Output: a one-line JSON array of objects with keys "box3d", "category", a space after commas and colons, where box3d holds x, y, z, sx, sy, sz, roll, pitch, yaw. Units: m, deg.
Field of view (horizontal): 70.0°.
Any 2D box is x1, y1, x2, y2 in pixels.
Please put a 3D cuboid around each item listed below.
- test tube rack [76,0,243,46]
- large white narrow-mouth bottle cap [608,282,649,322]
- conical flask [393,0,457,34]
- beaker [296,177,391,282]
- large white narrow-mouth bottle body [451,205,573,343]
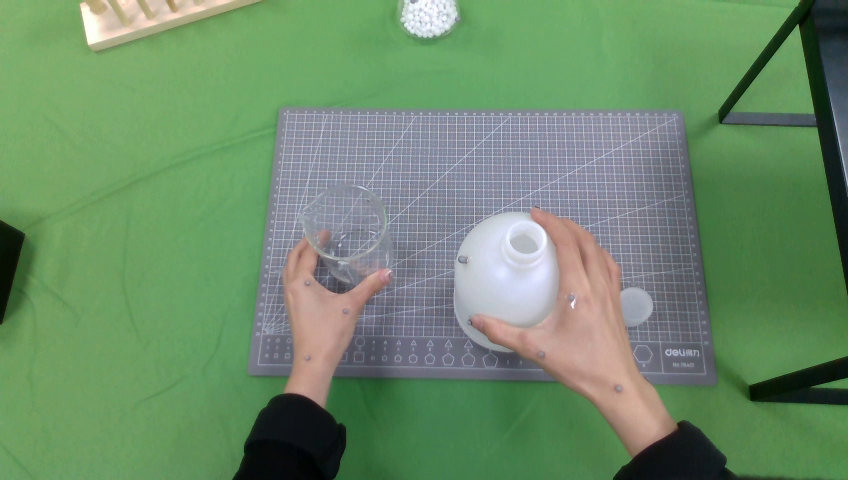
[{"box3d": [-0.295, -0.312, 0.700, 0.242, 0.086, 0.066, -19, 71, -5], "category": "test tube rack"}, {"box3d": [0.200, 0.062, 0.592, 0.038, 0.024, 0.037, -1, 72, 3], "category": "large white narrow-mouth bottle cap"}, {"box3d": [-0.001, -0.293, 0.667, 0.075, 0.122, 0.075, -1, 70, 2], "category": "conical flask"}, {"box3d": [-0.072, -0.006, 0.580, 0.084, 0.101, 0.073, 11, 71, 6], "category": "beaker"}, {"box3d": [0.073, 0.026, 0.517, 0.102, 0.196, 0.101, -1, 72, 4], "category": "large white narrow-mouth bottle body"}]
